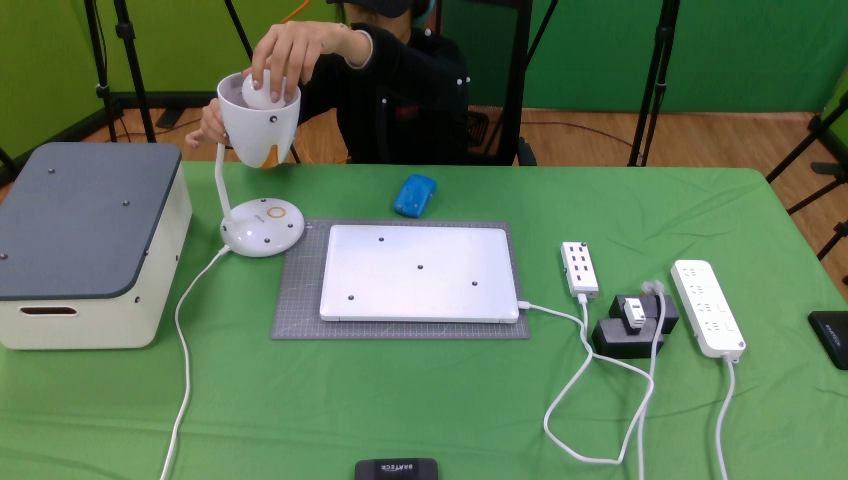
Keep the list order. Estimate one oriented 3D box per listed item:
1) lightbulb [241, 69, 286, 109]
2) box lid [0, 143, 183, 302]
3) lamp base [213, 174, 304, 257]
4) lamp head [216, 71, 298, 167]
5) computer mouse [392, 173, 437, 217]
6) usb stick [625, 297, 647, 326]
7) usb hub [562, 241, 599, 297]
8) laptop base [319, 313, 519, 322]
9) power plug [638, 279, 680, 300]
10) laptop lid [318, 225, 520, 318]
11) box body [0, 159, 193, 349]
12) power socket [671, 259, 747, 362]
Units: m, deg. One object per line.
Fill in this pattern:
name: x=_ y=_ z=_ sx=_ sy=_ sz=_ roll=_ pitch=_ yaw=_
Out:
lightbulb: x=-0.227 y=-0.188 z=0.853 sx=0.059 sy=0.108 sz=0.059 roll=10 pitch=41 yaw=-9
box lid: x=-0.567 y=-0.045 z=0.999 sx=0.263 sy=0.015 sz=0.369 roll=-1 pitch=46 yaw=-4
lamp base: x=-0.324 y=-0.074 z=1.135 sx=0.160 sy=0.181 sz=0.179 roll=28 pitch=53 yaw=24
lamp head: x=-0.240 y=-0.169 z=0.876 sx=0.112 sy=0.123 sz=0.111 roll=9 pitch=45 yaw=-8
computer mouse: x=-0.018 y=-0.098 z=1.282 sx=0.062 sy=0.041 sz=0.117 roll=20 pitch=51 yaw=13
usb stick: x=0.360 y=0.116 z=1.034 sx=0.021 sy=0.027 sz=0.059 roll=-2 pitch=44 yaw=-2
usb hub: x=0.300 y=0.055 z=1.162 sx=0.049 sy=0.025 sz=0.124 roll=2 pitch=46 yaw=-3
laptop base: x=-0.009 y=0.062 z=1.138 sx=0.354 sy=0.023 sz=0.234 roll=1 pitch=42 yaw=-3
power plug: x=0.433 y=0.099 z=1.118 sx=0.073 sy=0.053 sz=0.035 roll=34 pitch=37 yaw=-16
laptop lid: x=-0.009 y=0.052 z=1.131 sx=0.357 sy=0.013 sz=0.240 roll=2 pitch=43 yaw=-2
box body: x=-0.570 y=0.006 z=1.054 sx=0.254 sy=0.161 sz=0.361 roll=-1 pitch=46 yaw=-4
power socket: x=0.516 y=0.119 z=1.108 sx=0.072 sy=0.033 sz=0.225 roll=1 pitch=46 yaw=-2
